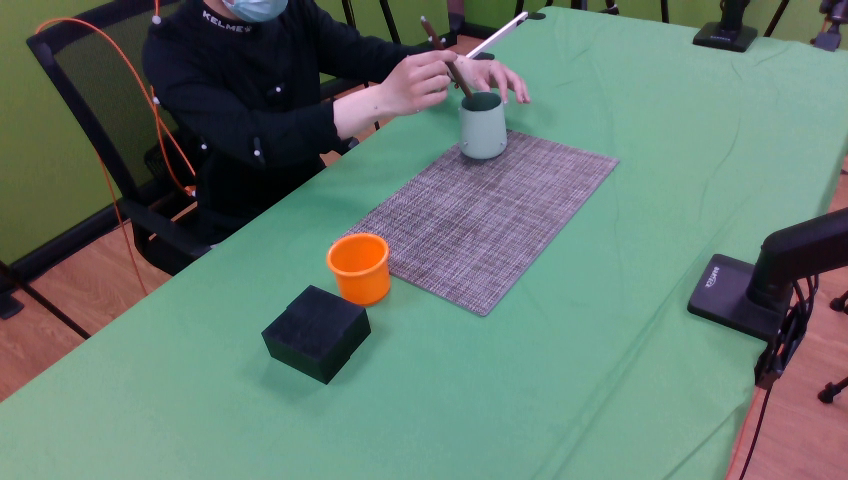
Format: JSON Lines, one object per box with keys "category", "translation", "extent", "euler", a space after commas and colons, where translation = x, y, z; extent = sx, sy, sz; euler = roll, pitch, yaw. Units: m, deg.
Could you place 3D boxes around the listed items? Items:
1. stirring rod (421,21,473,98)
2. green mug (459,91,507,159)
{"category": "stirring rod", "translation": [0.041, -0.299, 1.012], "extent": [0.014, 0.177, 0.006], "euler": [6, 63, 35]}
{"category": "green mug", "translation": [0.117, -0.225, 1.144], "extent": [0.092, 0.105, 0.125], "euler": [14, 45, 24]}
